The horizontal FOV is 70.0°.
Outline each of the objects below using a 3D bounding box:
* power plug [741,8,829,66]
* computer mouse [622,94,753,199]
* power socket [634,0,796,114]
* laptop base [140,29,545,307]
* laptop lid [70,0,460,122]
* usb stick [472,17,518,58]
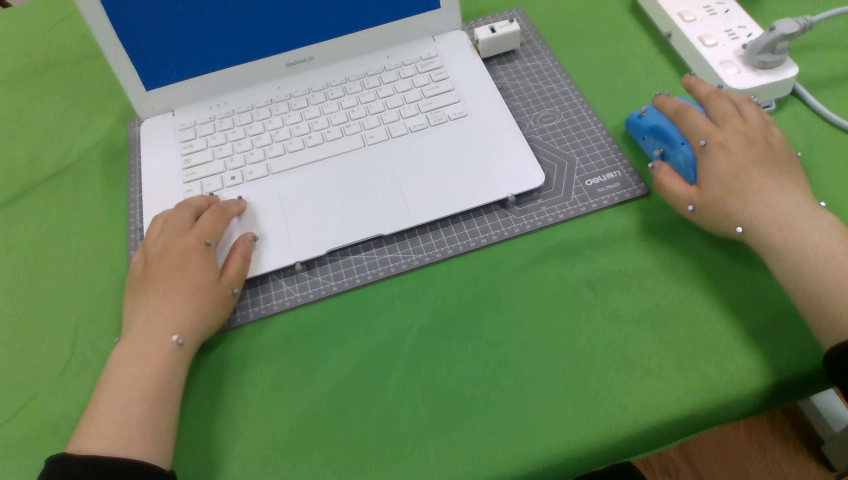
[{"bbox_3d":[0.327,-0.175,0.549,0.072,0.053,0.035,-6,56,5],"label":"power plug"},{"bbox_3d":[0.226,-0.088,0.525,0.063,0.041,0.116,-22,50,-4],"label":"computer mouse"},{"bbox_3d":[0.283,-0.213,0.609,0.072,0.033,0.224,-15,54,-2],"label":"power socket"},{"bbox_3d":[-0.092,-0.082,0.580,0.354,0.023,0.233,-18,58,-5],"label":"laptop base"},{"bbox_3d":[-0.148,-0.258,0.569,0.357,0.244,0.013,-19,42,-4],"label":"laptop lid"},{"bbox_3d":[0.067,-0.209,0.630,0.059,0.027,0.021,-19,55,-1],"label":"usb stick"}]
